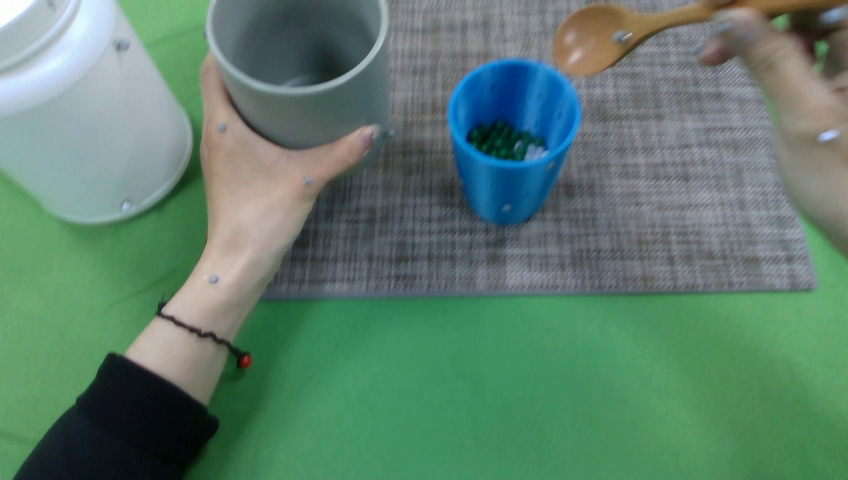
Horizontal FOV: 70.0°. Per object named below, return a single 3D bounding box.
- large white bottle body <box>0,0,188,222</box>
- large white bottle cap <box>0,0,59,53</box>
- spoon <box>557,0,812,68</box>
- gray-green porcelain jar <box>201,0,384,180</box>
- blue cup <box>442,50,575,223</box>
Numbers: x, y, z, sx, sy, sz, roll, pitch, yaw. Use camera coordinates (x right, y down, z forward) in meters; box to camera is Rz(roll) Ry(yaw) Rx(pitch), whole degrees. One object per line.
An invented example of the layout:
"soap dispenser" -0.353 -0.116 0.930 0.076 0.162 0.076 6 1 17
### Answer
"large white bottle body" -0.260 -0.108 0.419 0.130 0.186 0.129 -1 64 2
"large white bottle cap" -0.264 -0.145 0.342 0.115 0.018 0.114 -1 65 2
"spoon" 0.127 -0.108 0.284 0.022 0.192 0.041 8 97 -24
"gray-green porcelain jar" -0.080 -0.108 0.413 0.106 0.127 0.105 1 70 -2
"blue cup" 0.057 -0.061 0.430 0.092 0.101 0.092 -1 64 3
